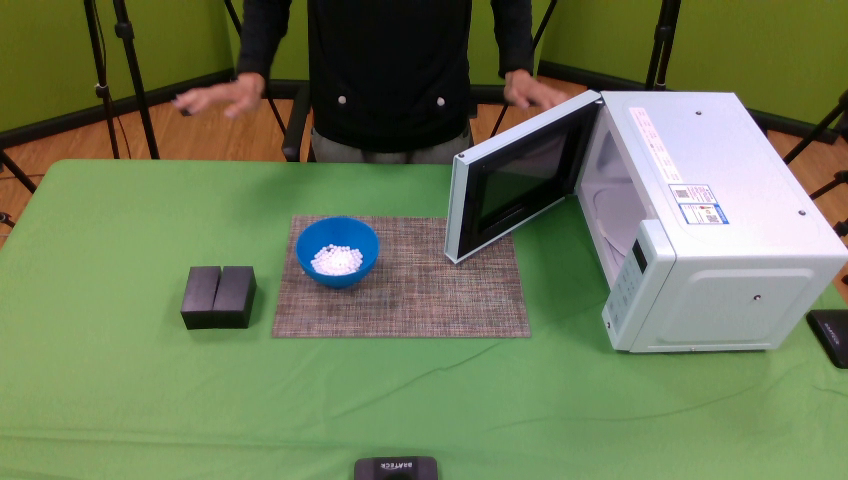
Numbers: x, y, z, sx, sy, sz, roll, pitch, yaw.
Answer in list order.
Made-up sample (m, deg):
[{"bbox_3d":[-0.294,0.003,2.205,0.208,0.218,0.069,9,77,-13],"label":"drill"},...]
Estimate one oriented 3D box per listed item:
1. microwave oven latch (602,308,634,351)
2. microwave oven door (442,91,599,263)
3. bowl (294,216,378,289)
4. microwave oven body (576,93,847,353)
[{"bbox_3d":[0.332,0.153,1.044,0.030,0.029,0.078,-1,45,-4],"label":"microwave oven latch"},{"bbox_3d":[0.187,-0.123,1.160,0.356,0.245,0.039,-29,55,-28],"label":"microwave oven door"},{"bbox_3d":[-0.158,0.036,1.110,0.151,0.077,0.150,3,45,-2],"label":"bowl"},{"bbox_3d":[0.475,-0.041,1.109,0.326,0.261,0.438,-1,45,-4],"label":"microwave oven body"}]
